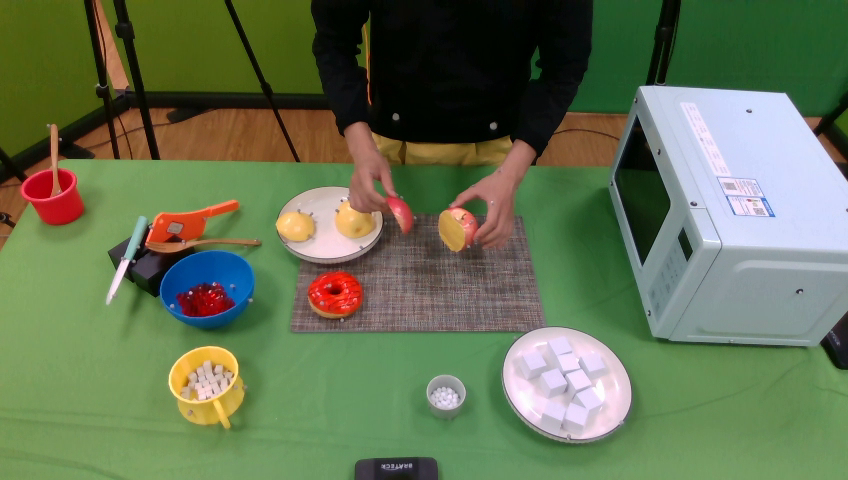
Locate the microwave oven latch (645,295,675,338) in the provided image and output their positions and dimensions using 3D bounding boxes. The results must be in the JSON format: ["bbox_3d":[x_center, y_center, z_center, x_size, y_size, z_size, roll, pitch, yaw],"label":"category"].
[{"bbox_3d":[0.412,0.134,1.061,0.030,0.029,0.078,3,45,0],"label":"microwave oven latch"}]

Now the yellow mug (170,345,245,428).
[{"bbox_3d":[-0.322,0.230,0.922,0.100,0.064,0.130,-24,53,-25],"label":"yellow mug"}]

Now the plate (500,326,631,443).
[{"bbox_3d":[0.224,0.234,0.978,0.208,0.039,0.206,2,46,-2],"label":"plate"}]

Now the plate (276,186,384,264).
[{"bbox_3d":[-0.184,-0.027,1.195,0.209,0.038,0.208,2,46,-2],"label":"plate"}]

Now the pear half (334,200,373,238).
[{"bbox_3d":[-0.147,-0.059,1.209,0.076,0.056,0.109,-16,43,-25],"label":"pear half"}]

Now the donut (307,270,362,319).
[{"bbox_3d":[-0.157,0.097,1.073,0.099,0.048,0.098,4,46,-4],"label":"donut"}]

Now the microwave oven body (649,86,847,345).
[{"bbox_3d":[0.567,-0.053,1.118,0.326,0.261,0.439,2,45,-1],"label":"microwave oven body"}]

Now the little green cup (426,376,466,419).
[{"bbox_3d":[0.033,0.248,0.950,0.061,0.039,0.061,2,46,-2],"label":"little green cup"}]

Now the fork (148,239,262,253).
[{"bbox_3d":[-0.398,0.008,1.117,0.208,0.019,0.028,-5,35,-37],"label":"fork"}]

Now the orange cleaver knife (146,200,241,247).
[{"bbox_3d":[-0.435,-0.033,1.157,0.012,0.077,0.211,31,26,19],"label":"orange cleaver knife"}]

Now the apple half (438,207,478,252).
[{"bbox_3d":[0.069,-0.022,1.125,0.053,0.075,0.080,-20,52,-33],"label":"apple half"}]

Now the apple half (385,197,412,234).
[{"bbox_3d":[-0.039,-0.048,1.092,0.033,0.082,0.080,-29,51,-2],"label":"apple half"}]

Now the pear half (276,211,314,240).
[{"bbox_3d":[-0.244,-0.036,1.179,0.070,0.031,0.088,43,43,3],"label":"pear half"}]

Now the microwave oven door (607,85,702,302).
[{"bbox_3d":[0.423,-0.094,1.140,0.039,0.245,0.353,2,46,-1],"label":"microwave oven door"}]

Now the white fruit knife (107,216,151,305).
[{"bbox_3d":[-0.518,0.032,1.066,0.027,0.016,0.206,-18,45,19],"label":"white fruit knife"}]

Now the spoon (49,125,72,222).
[{"bbox_3d":[-0.717,-0.131,1.189,0.042,0.021,0.193,-3,90,-7],"label":"spoon"}]

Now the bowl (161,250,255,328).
[{"bbox_3d":[-0.362,0.097,1.040,0.151,0.077,0.150,2,45,-2],"label":"bowl"}]
